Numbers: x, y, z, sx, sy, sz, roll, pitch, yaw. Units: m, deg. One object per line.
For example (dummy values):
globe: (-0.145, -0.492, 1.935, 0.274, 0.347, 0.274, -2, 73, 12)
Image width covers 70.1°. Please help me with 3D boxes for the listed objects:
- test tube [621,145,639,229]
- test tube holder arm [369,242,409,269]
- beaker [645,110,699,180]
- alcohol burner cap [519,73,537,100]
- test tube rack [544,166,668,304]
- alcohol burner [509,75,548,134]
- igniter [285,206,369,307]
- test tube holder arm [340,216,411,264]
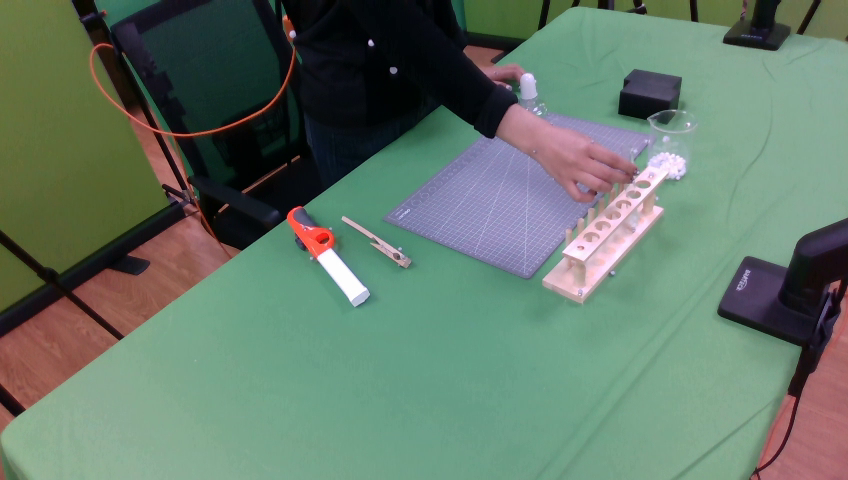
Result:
test tube: (0.302, -0.074, 0.883, 0.017, 0.151, 0.017, -12, 40, 11)
test tube holder arm: (-0.057, 0.021, 0.971, 0.087, 0.015, 0.010, 34, 87, 40)
beaker: (0.417, -0.160, 1.032, 0.083, 0.101, 0.074, 25, 51, 35)
alcohol burner cap: (0.198, -0.298, 1.163, 0.034, 0.048, 0.033, -10, 37, 8)
test tube rack: (0.274, -0.018, 0.903, 0.066, 0.085, 0.243, 26, 51, 35)
alcohol burner: (0.205, -0.270, 1.186, 0.078, 0.119, 0.077, -5, 42, 5)
igniter: (-0.166, 0.018, 0.986, 0.057, 0.025, 0.274, -34, 45, -12)
test tube holder arm: (-0.083, -0.002, 0.999, 0.177, 0.015, 0.013, 33, 86, 40)
